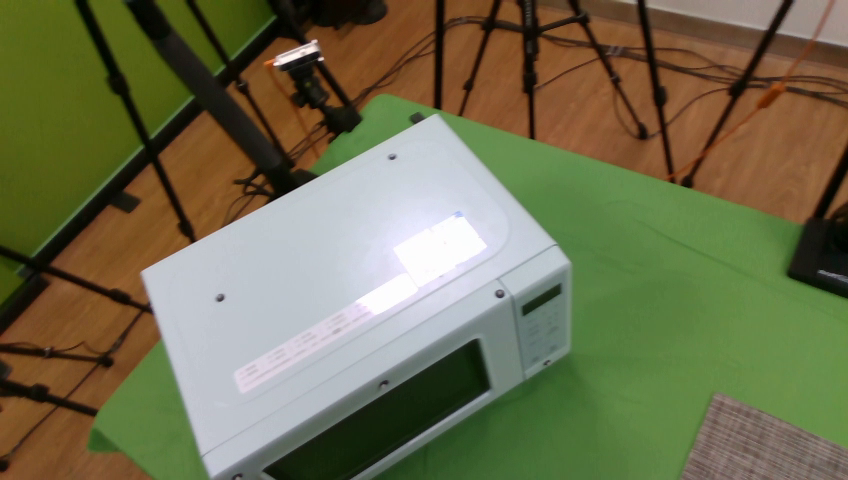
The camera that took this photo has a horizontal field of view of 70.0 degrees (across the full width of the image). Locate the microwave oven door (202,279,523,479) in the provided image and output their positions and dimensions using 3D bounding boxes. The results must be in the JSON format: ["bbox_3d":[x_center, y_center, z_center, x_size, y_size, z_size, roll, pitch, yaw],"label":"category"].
[{"bbox_3d":[-0.046,0.197,0.720,0.356,0.246,0.039,-30,55,-8],"label":"microwave oven door"}]

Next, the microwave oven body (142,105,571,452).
[{"bbox_3d":[-0.078,0.082,0.812,0.442,0.263,0.322,-30,56,-8],"label":"microwave oven body"}]

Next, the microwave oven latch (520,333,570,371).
[{"bbox_3d":[0.163,0.147,0.834,0.079,0.030,0.030,-29,56,-7],"label":"microwave oven latch"}]
